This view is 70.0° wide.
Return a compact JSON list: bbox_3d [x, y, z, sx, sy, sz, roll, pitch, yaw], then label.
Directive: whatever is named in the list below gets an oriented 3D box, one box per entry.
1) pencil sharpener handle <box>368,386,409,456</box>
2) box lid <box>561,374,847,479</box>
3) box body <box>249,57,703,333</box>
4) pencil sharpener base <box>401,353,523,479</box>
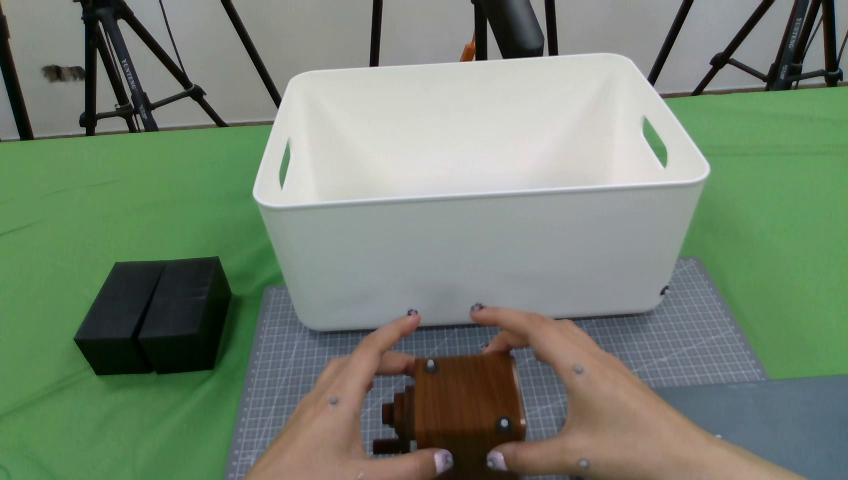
[{"bbox_3d":[-0.026,0.130,0.419,0.030,0.068,0.035,-3,41,1],"label":"pencil sharpener handle"},{"bbox_3d":[0.295,0.203,0.408,0.372,0.015,0.260,-4,40,-2],"label":"box lid"},{"bbox_3d":[0.043,-0.051,0.608,0.364,0.162,0.251,-4,39,0],"label":"box body"},{"bbox_3d":[0.025,0.136,0.426,0.077,0.108,0.061,-3,40,1],"label":"pencil sharpener base"}]
